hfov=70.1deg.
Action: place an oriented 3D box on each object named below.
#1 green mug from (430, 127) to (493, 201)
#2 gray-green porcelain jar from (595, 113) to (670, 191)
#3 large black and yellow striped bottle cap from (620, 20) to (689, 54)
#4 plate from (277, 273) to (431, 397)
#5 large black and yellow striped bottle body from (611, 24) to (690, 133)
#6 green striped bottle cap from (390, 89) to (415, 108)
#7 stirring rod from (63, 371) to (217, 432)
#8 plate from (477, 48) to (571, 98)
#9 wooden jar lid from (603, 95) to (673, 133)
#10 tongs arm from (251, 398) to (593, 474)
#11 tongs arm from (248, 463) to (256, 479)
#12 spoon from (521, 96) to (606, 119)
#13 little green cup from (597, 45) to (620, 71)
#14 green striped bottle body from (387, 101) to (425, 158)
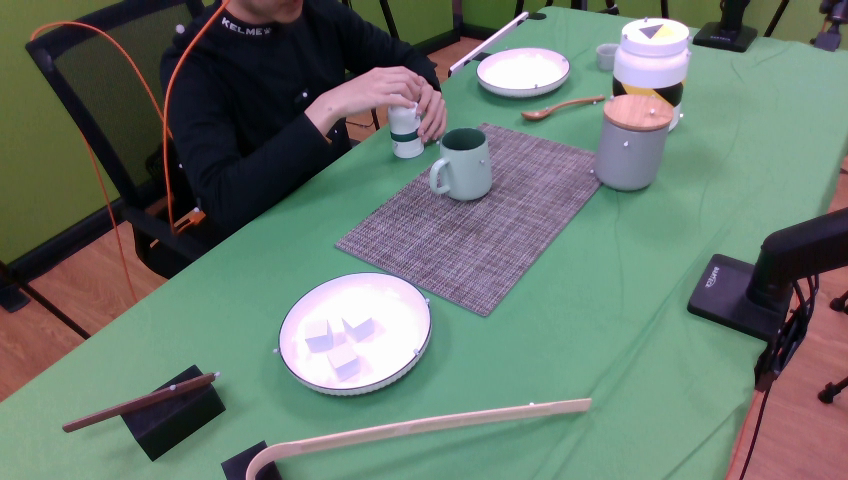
[{"bbox_3d":[0.060,-0.122,1.034,0.126,0.105,0.091,-35,48,-28],"label":"green mug"},{"bbox_3d":[0.346,-0.155,1.017,0.106,0.127,0.105,-2,44,2],"label":"gray-green porcelain jar"},{"bbox_3d":[0.411,-0.363,1.080,0.115,0.019,0.114,-4,42,4],"label":"large black and yellow striped bottle cap"},{"bbox_3d":[-0.091,0.129,0.821,0.207,0.039,0.206,-4,40,4],"label":"plate"},{"bbox_3d":[0.420,-0.299,1.132,0.131,0.185,0.130,-5,41,4],"label":"large black and yellow striped bottle body"},{"bbox_3d":[-0.041,-0.263,1.125,0.044,0.020,0.044,-7,40,6],"label":"green striped bottle cap"},{"bbox_3d":[-0.337,0.192,0.723,0.177,0.014,0.005,-18,42,-12],"label":"stirring rod"},{"bbox_3d":[0.223,-0.371,1.357,0.209,0.038,0.208,-4,41,4],"label":"plate"},{"bbox_3d":[0.343,-0.200,0.974,0.108,0.021,0.108,-2,39,2],"label":"wooden jar lid"},{"bbox_3d":[0.008,0.212,0.675,0.389,0.028,0.028,-5,46,-11],"label":"tongs arm"},{"bbox_3d":[0.012,0.262,0.615,0.385,0.026,0.050,2,42,-2],"label":"tongs arm"},{"bbox_3d":[0.291,-0.277,1.249,0.194,0.022,0.041,-18,22,-11],"label":"spoon"},{"bbox_3d":[0.423,-0.413,1.376,0.061,0.039,0.061,-4,41,4],"label":"little green cup"},{"bbox_3d":[-0.035,-0.223,1.160,0.063,0.120,0.063,-5,39,4],"label":"green striped bottle body"}]
